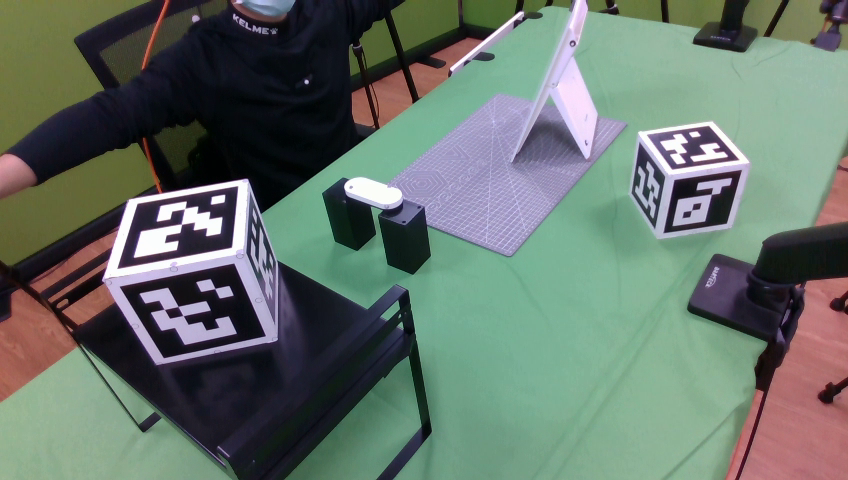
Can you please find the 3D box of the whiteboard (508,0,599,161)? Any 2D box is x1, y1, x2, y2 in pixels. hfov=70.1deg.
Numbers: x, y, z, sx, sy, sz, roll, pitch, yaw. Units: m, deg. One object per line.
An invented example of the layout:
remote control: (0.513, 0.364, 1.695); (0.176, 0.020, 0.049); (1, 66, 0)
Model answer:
whiteboard: (0.285, -0.289, 1.090); (0.144, 0.305, 0.217); (22, 45, 3)

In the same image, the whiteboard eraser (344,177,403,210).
whiteboard eraser: (-0.077, -0.071, 0.911); (0.100, 0.019, 0.041); (20, 50, 29)
